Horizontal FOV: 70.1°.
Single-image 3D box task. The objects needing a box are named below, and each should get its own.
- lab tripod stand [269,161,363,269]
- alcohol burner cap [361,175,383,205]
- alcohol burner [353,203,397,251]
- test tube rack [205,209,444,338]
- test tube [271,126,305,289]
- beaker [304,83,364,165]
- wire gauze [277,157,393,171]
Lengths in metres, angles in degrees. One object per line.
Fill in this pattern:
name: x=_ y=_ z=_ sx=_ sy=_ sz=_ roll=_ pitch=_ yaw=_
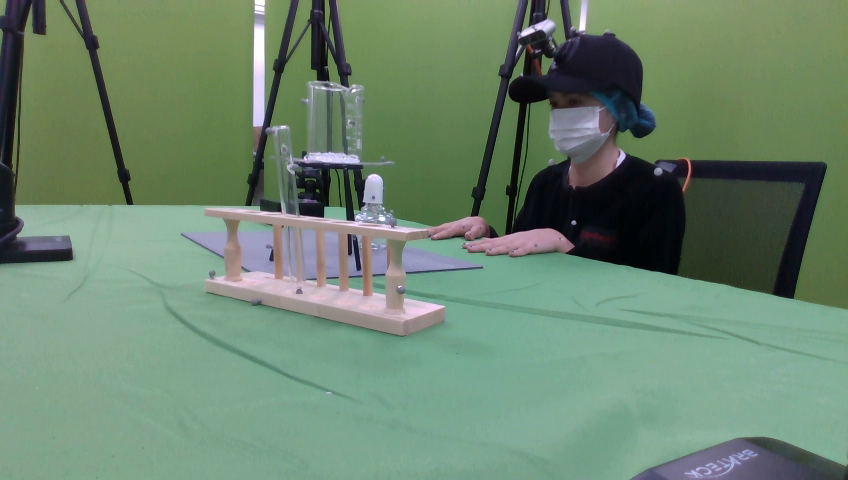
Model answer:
lab tripod stand: x=-0.125 y=-0.036 z=0.794 sx=0.148 sy=0.131 sz=0.148 roll=5 pitch=7 yaw=0
alcohol burner cap: x=-0.080 y=-0.078 z=0.944 sx=0.034 sy=0.048 sz=0.034 roll=5 pitch=7 yaw=0
alcohol burner: x=-0.082 y=-0.043 z=0.950 sx=0.078 sy=0.119 sz=0.078 roll=1 pitch=8 yaw=0
test tube rack: x=-0.100 y=0.021 z=0.565 sx=0.241 sy=0.085 sz=0.067 roll=7 pitch=8 yaw=32
test tube: x=-0.124 y=-0.028 z=0.554 sx=0.017 sy=0.150 sz=0.017 roll=-5 pitch=7 yaw=1
beaker: x=-0.115 y=-0.148 z=0.779 sx=0.074 sy=0.100 sz=0.083 roll=-2 pitch=10 yaw=-30
wire gauze: x=-0.122 y=-0.100 z=0.786 sx=0.122 sy=0.011 sz=0.124 roll=-5 pitch=14 yaw=-38
